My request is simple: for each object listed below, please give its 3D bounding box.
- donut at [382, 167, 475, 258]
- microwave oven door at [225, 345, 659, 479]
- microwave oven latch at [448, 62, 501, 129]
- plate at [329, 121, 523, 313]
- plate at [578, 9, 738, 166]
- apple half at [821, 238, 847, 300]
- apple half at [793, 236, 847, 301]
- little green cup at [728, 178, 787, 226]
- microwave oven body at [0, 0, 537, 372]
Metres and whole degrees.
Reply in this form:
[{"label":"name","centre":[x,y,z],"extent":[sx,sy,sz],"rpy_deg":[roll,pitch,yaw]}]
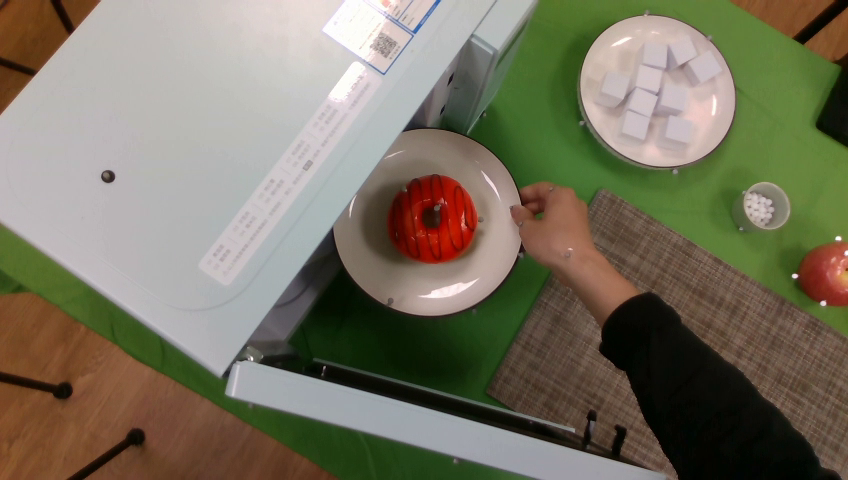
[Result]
[{"label":"donut","centre":[0.005,-0.029,0.649],"extent":[0.099,0.048,0.099],"rpy_deg":[0,90,1]},{"label":"microwave oven door","centre":[0.010,0.168,0.590],"extent":[0.356,0.244,0.039],"rpy_deg":[16,80,-2]},{"label":"microwave oven latch","centre":[0.062,-0.177,0.745],"extent":[0.030,0.029,0.079],"rpy_deg":[37,81,1]},{"label":"plate","centre":[0.002,-0.024,0.659],"extent":[0.209,0.038,0.208],"rpy_deg":[0,84,-1]},{"label":"plate","centre":[0.299,-0.193,0.786],"extent":[0.208,0.039,0.207],"rpy_deg":[1,82,-4]},{"label":"apple half","centre":[0.532,0.038,0.754],"extent":[0.033,0.081,0.081],"rpy_deg":[5,81,1]},{"label":"apple half","centre":[0.493,0.034,0.752],"extent":[0.053,0.075,0.080],"rpy_deg":[5,85,1]},{"label":"little green cup","centre":[0.424,-0.046,0.775],"extent":[0.061,0.039,0.061],"rpy_deg":[1,81,-4]},{"label":"microwave oven body","centre":[-0.153,-0.132,0.624],"extent":[0.326,0.260,0.441],"rpy_deg":[35,81,1]}]
